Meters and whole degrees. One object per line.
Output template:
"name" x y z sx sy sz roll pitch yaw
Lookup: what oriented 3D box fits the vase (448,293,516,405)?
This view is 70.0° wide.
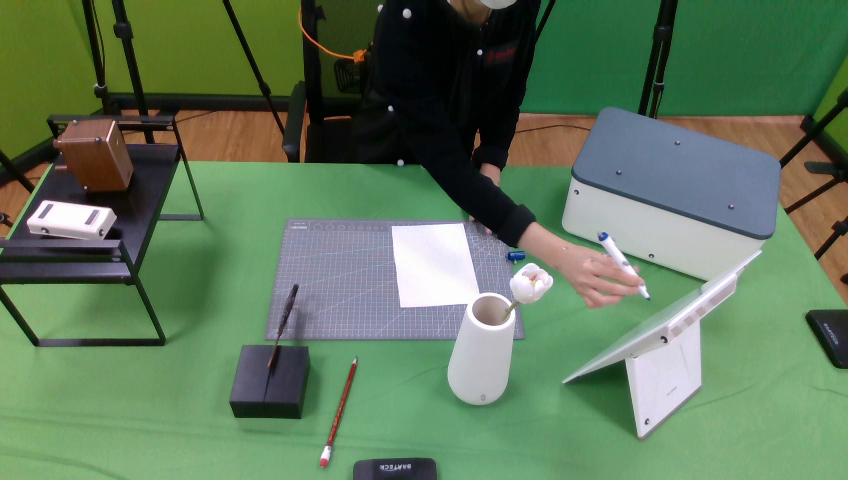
"vase" 0.091 0.169 0.921 0.098 0.201 0.097 3 47 -3

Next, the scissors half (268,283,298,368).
"scissors half" -0.230 0.135 0.986 0.013 0.040 0.174 19 43 -11

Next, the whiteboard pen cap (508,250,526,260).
"whiteboard pen cap" 0.181 0.029 1.185 0.033 0.018 0.018 -4 47 -13

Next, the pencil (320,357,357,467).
"pencil" -0.130 0.261 0.947 0.012 0.012 0.193 10 45 5

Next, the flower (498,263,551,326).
"flower" 0.103 0.122 0.852 0.044 0.363 0.038 -1 63 -9

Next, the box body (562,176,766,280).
"box body" 0.486 -0.088 1.222 0.363 0.161 0.253 20 48 15

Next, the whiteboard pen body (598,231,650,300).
"whiteboard pen body" 0.294 0.040 0.880 0.017 0.141 0.017 -34 23 17

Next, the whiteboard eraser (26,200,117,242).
"whiteboard eraser" -0.532 -0.026 0.919 0.113 0.042 0.055 7 45 3

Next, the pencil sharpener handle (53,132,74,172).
"pencil sharpener handle" -0.578 -0.138 0.961 0.031 0.068 0.036 -4 34 -7

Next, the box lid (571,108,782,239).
"box lid" 0.491 -0.139 1.168 0.370 0.015 0.262 20 49 15

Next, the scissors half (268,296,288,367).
"scissors half" -0.239 0.150 0.997 0.013 0.040 0.174 24 24 -14

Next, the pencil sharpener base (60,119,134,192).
"pencil sharpener base" -0.528 -0.135 0.979 0.077 0.107 0.061 -4 47 -7

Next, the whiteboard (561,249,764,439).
"whiteboard" 0.386 0.176 0.905 0.217 0.306 0.143 -26 72 -26
